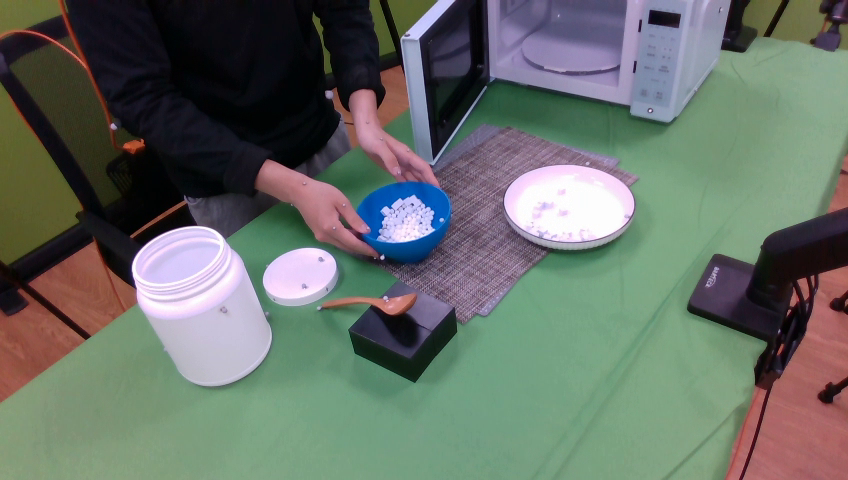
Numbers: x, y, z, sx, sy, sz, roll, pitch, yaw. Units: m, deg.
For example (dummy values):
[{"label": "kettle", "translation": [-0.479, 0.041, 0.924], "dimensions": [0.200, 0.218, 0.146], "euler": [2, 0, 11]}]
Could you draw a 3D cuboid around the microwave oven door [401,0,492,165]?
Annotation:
[{"label": "microwave oven door", "translation": [0.055, -0.343, 1.167], "dimensions": [0.039, 0.245, 0.356], "euler": [11, 44, 21]}]

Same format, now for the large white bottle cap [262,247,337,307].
[{"label": "large white bottle cap", "translation": [-0.193, 0.056, 0.934], "dimensions": [0.115, 0.018, 0.114], "euler": [-5, 42, 5]}]

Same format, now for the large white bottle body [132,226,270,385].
[{"label": "large white bottle body", "translation": [-0.286, 0.085, 0.783], "dimensions": [0.130, 0.185, 0.130], "euler": [-4, 41, 4]}]

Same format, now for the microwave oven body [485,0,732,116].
[{"label": "microwave oven body", "translation": [0.377, -0.463, 1.267], "dimensions": [0.438, 0.261, 0.327], "euler": [21, 49, 30]}]

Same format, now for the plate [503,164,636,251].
[{"label": "plate", "translation": [0.232, -0.051, 0.976], "dimensions": [0.209, 0.038, 0.208], "euler": [-3, 41, 3]}]

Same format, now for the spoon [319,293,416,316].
[{"label": "spoon", "translation": [-0.082, 0.086, 0.826], "dimensions": [0.192, 0.022, 0.041], "euler": [-3, 37, 41]}]

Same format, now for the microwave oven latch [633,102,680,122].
[{"label": "microwave oven latch", "translation": [0.444, -0.249, 1.157], "dimensions": [0.078, 0.029, 0.030], "euler": [21, 49, 30]}]

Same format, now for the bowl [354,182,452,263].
[{"label": "bowl", "translation": [-0.029, -0.017, 0.942], "dimensions": [0.151, 0.077, 0.150], "euler": [-4, 40, 4]}]
